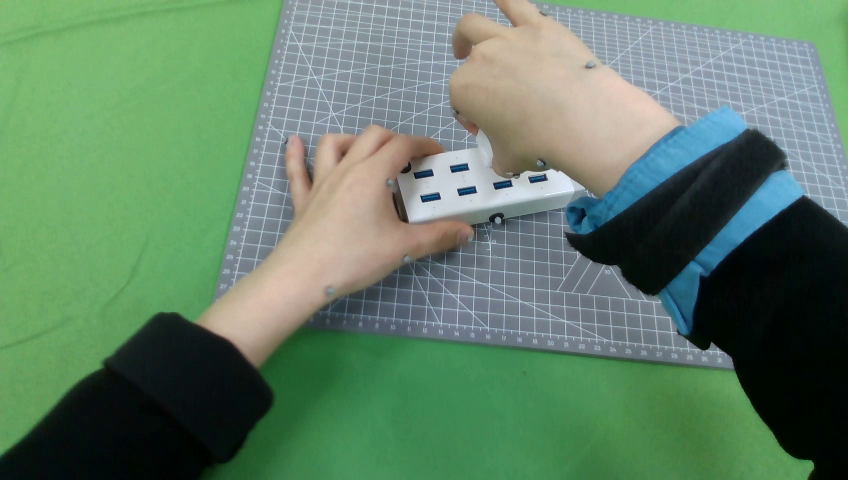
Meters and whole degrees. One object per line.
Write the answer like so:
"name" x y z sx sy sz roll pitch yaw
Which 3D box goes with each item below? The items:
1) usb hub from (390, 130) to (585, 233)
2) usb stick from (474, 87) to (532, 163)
"usb hub" 0.042 -0.042 0.412 0.125 0.025 0.049 -11 66 -12
"usb stick" 0.049 -0.069 0.392 0.021 0.059 0.027 -13 63 -16
